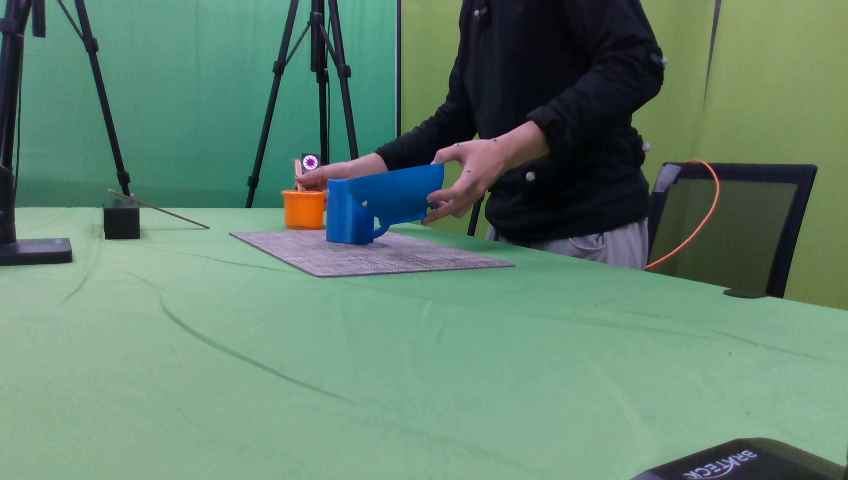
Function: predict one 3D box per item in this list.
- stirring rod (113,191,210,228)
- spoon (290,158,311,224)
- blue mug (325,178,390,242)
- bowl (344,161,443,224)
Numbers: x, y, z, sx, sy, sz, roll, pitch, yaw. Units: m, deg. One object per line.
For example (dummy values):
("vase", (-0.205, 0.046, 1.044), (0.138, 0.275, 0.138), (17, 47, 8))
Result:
("stirring rod", (-0.484, -0.055, 1.121), (0.177, 0.006, 0.014), (22, -6, -22))
("spoon", (-0.261, -0.106, 1.264), (0.042, 0.193, 0.021), (1, -37, -16))
("blue mug", (-0.111, -0.052, 1.034), (0.116, 0.106, 0.082), (3, 7, 7))
("bowl", (-0.039, -0.068, 0.908), (0.151, 0.077, 0.151), (-10, 5, 1))
